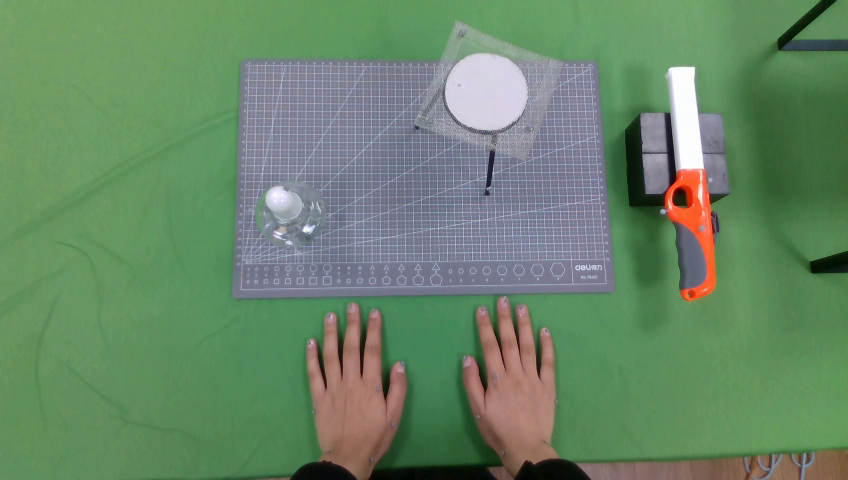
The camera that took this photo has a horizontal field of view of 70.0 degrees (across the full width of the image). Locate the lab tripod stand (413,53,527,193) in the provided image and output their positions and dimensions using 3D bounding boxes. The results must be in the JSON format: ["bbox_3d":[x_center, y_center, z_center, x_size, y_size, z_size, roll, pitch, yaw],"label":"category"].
[{"bbox_3d":[0.061,-0.142,0.687,0.148,0.132,0.147,1,77,-3],"label":"lab tripod stand"}]

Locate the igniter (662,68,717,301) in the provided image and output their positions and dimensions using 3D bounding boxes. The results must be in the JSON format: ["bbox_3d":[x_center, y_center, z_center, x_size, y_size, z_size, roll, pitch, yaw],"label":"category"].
[{"bbox_3d":[0.301,-0.068,0.696,0.057,0.025,0.275,0,78,2],"label":"igniter"}]

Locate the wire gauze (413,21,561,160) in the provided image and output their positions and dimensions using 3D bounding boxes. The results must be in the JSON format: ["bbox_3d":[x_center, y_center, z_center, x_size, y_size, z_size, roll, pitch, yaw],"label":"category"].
[{"bbox_3d":[0.066,-0.153,0.621,0.121,0.011,0.124,22,77,1],"label":"wire gauze"}]

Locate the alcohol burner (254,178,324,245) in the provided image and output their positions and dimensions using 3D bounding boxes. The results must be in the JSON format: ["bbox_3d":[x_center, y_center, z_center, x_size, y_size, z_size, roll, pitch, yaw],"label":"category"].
[{"bbox_3d":[-0.150,-0.035,0.664,0.078,0.119,0.077,1,80,-4],"label":"alcohol burner"}]

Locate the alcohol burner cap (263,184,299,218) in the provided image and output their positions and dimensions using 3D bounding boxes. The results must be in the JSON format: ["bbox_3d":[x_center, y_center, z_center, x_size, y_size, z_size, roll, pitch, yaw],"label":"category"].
[{"bbox_3d":[-0.151,-0.043,0.629,0.034,0.048,0.033,0,80,0],"label":"alcohol burner cap"}]
